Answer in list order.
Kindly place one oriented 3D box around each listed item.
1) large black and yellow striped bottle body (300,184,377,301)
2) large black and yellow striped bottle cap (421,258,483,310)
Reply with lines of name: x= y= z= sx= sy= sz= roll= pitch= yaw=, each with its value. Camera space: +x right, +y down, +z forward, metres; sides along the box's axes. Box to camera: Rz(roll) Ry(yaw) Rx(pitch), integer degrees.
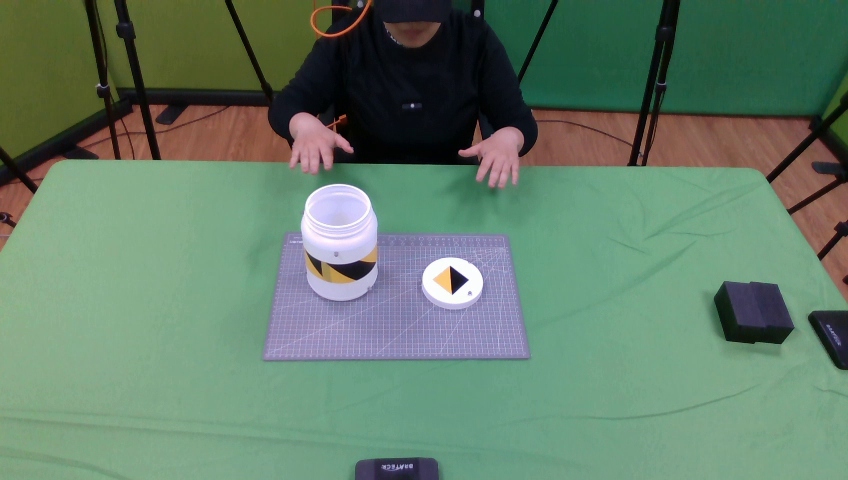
large black and yellow striped bottle body: x=-0.148 y=0.004 z=1.067 sx=0.131 sy=0.185 sz=0.130 roll=2 pitch=46 yaw=-2
large black and yellow striped bottle cap: x=0.053 y=0.081 z=1.126 sx=0.115 sy=0.019 sz=0.114 roll=2 pitch=45 yaw=-1
